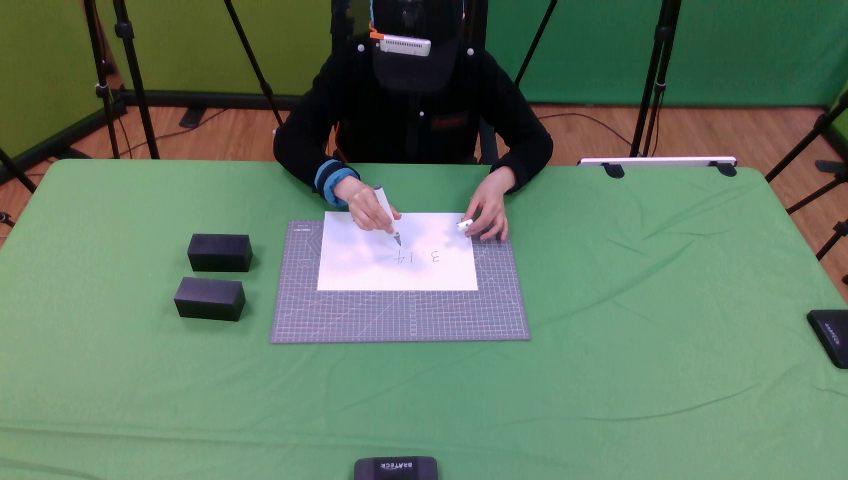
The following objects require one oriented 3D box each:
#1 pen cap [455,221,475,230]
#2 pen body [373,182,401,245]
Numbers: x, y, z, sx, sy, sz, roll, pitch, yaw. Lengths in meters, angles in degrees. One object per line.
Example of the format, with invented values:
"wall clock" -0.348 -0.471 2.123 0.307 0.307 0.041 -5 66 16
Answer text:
"pen cap" 0.081 -0.028 1.195 0.038 0.017 0.017 5 42 -30
"pen body" -0.066 -0.046 1.126 0.017 0.145 0.017 -13 37 10
